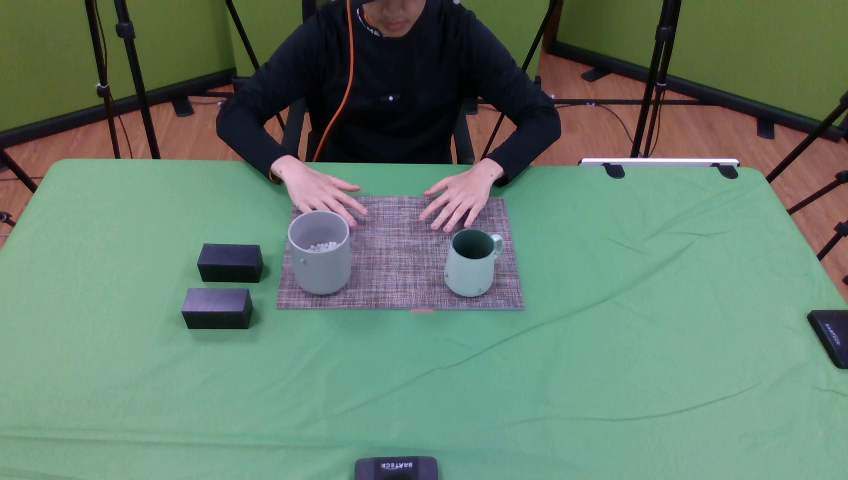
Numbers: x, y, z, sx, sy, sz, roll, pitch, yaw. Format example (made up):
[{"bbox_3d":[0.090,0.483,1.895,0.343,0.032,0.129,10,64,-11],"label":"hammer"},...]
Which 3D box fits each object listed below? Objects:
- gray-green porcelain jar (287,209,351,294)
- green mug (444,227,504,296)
[{"bbox_3d":[-0.184,0.026,1.080,0.106,0.127,0.105,2,47,-2],"label":"gray-green porcelain jar"},{"bbox_3d":[0.097,0.033,1.109,0.125,0.105,0.092,-31,55,-29],"label":"green mug"}]
